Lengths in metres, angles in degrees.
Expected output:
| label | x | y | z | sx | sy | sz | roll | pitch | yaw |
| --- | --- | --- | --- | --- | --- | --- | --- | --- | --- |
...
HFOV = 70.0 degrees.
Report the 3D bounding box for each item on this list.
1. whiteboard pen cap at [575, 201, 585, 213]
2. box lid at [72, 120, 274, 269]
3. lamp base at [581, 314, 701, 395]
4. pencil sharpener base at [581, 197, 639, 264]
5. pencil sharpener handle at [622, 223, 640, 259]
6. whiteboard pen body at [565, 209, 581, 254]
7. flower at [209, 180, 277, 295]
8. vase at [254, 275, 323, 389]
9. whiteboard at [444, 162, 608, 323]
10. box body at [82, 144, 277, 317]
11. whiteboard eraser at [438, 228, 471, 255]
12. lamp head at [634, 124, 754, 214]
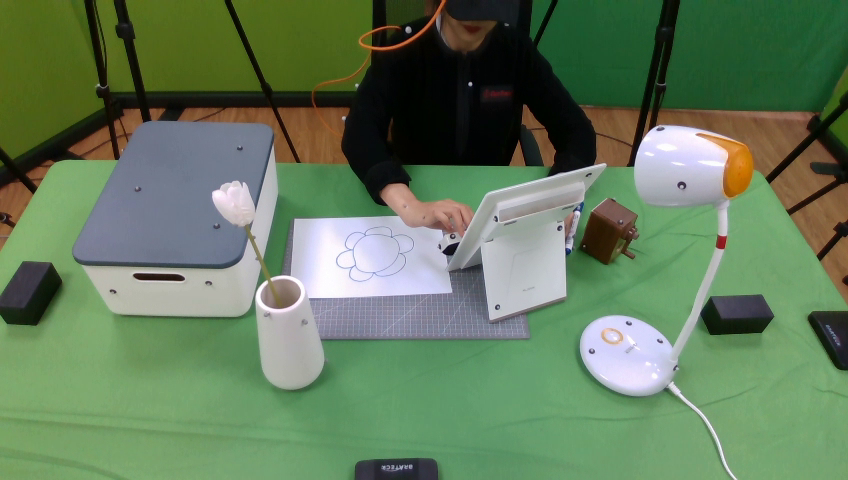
| label | x | y | z | sx | sy | sz | roll | pitch | yaw |
| --- | --- | --- | --- | --- | --- | --- | --- | --- | --- |
| whiteboard pen cap | 0.327 | -0.069 | 1.277 | 0.018 | 0.018 | 0.033 | 18 | 51 | 13 |
| box lid | -0.417 | -0.094 | 1.056 | 0.263 | 0.015 | 0.369 | 1 | 47 | -3 |
| lamp base | 0.361 | 0.144 | 0.973 | 0.178 | 0.181 | 0.160 | 34 | 53 | 23 |
| pencil sharpener base | 0.362 | -0.017 | 1.179 | 0.076 | 0.107 | 0.061 | 37 | 54 | 27 |
| pencil sharpener handle | 0.397 | 0.003 | 1.146 | 0.030 | 0.068 | 0.036 | 37 | 46 | 27 |
| whiteboard pen body | 0.307 | -0.026 | 1.242 | 0.017 | 0.017 | 0.140 | 16 | 50 | 11 |
| flower | -0.216 | 0.075 | 0.871 | 0.044 | 0.363 | 0.038 | -29 | 36 | -19 |
| vase | -0.209 | 0.143 | 0.921 | 0.098 | 0.201 | 0.097 | 1 | 46 | -1 |
| whiteboard | 0.186 | 0.025 | 1.029 | 0.217 | 0.306 | 0.143 | -14 | 68 | -17 |
| box body | -0.422 | -0.041 | 1.108 | 0.254 | 0.161 | 0.361 | 2 | 46 | -3 |
| whiteboard eraser | 0.086 | -0.001 | 1.105 | 0.113 | 0.055 | 0.041 | -15 | 80 | -19 |
| lamp head | 0.351 | -0.089 | 0.776 | 0.112 | 0.113 | 0.122 | -30 | 30 | -28 |
